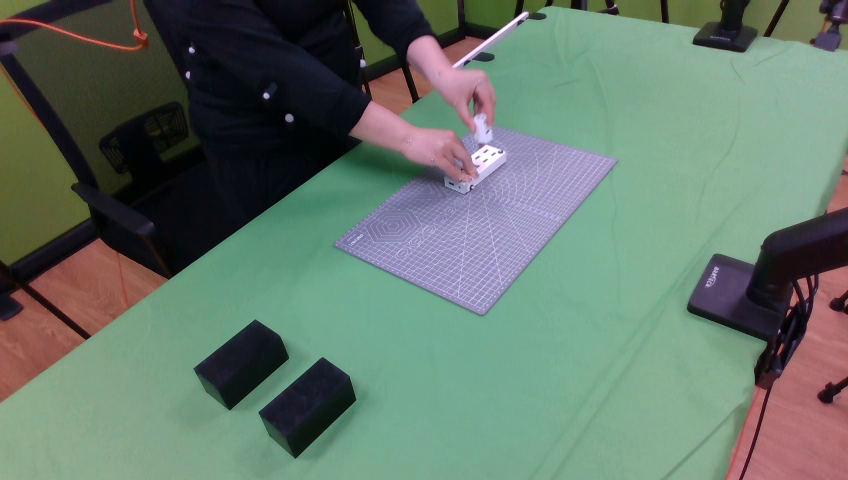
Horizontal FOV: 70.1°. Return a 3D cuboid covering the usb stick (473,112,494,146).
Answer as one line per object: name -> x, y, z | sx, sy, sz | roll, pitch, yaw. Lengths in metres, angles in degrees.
usb stick -> 0.103, -0.189, 1.042 | 0.027, 0.059, 0.021 | 18, 45, 36

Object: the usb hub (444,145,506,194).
usb hub -> 0.095, -0.129, 1.102 | 0.049, 0.025, 0.125 | 27, 51, 33
